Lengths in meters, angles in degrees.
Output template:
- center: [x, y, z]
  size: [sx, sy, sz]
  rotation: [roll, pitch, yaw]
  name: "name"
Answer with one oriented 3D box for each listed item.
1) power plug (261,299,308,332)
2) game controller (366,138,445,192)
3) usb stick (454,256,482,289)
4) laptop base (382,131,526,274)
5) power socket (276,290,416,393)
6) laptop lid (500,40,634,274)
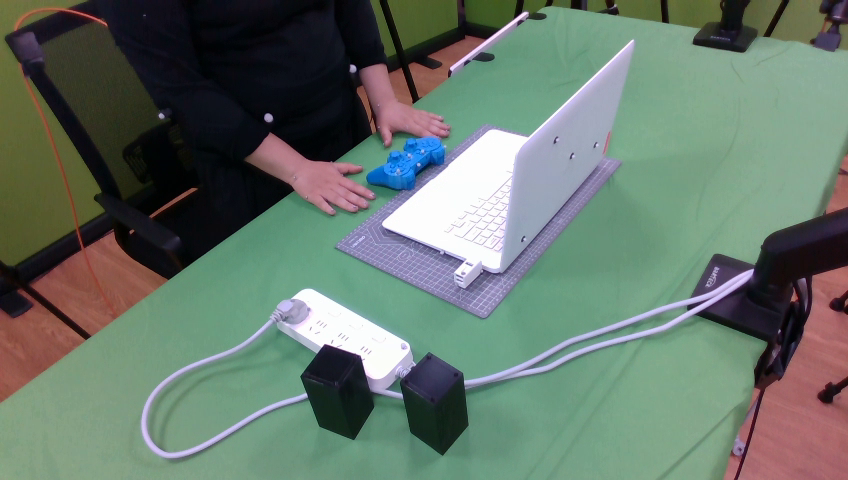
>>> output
- center: [-0.193, 0.109, 0.830]
  size: [0.073, 0.053, 0.035]
  rotation: [-35, 47, -23]
  name: "power plug"
- center: [-0.030, -0.147, 1.128]
  size: [0.096, 0.052, 0.155]
  rotation: [24, 50, 30]
  name: "game controller"
- center: [0.069, 0.044, 0.891]
  size: [0.021, 0.027, 0.059]
  rotation: [23, 45, 32]
  name: "usb stick"
- center: [0.123, -0.081, 1.049]
  size: [0.233, 0.023, 0.355]
  rotation: [20, 47, 33]
  name: "laptop base"
- center: [-0.114, 0.132, 0.821]
  size: [0.225, 0.033, 0.072]
  rotation: [24, 48, 32]
  name: "power socket"
- center: [0.218, -0.128, 0.906]
  size: [0.013, 0.242, 0.358]
  rotation: [28, 50, 25]
  name: "laptop lid"
